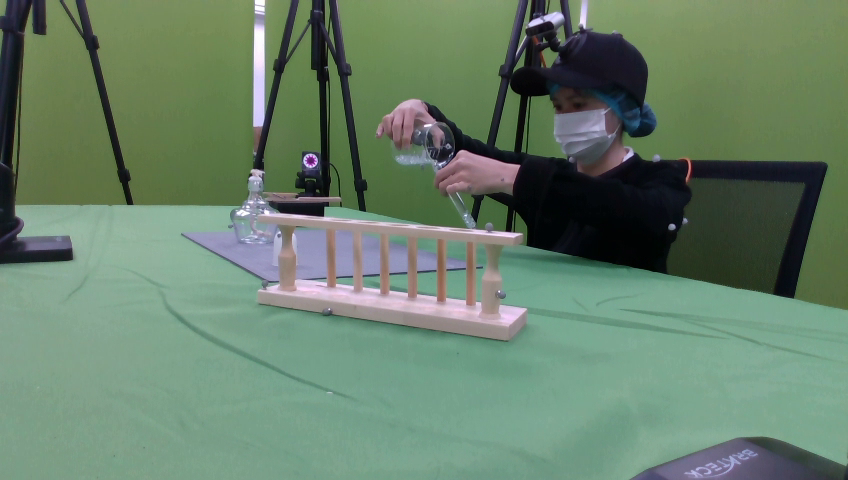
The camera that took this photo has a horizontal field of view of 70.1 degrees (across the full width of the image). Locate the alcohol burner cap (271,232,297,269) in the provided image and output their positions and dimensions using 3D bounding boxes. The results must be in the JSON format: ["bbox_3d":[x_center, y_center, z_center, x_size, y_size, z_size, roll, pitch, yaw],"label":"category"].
[{"bbox_3d":[-0.175,0.012,0.760,0.034,0.048,0.034,2,8,0],"label":"alcohol burner cap"}]

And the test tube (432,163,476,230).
[{"bbox_3d":[0.049,-0.073,1.004,0.017,0.017,0.149,-2,49,-34],"label":"test tube"}]

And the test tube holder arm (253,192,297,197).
[{"bbox_3d":[-0.301,-0.092,1.223,0.088,0.010,0.015,0,7,-25],"label":"test tube holder arm"}]

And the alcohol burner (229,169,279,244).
[{"bbox_3d":[-0.268,-0.053,0.958,0.078,0.119,0.078,2,6,0],"label":"alcohol burner"}]

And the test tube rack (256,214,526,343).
[{"bbox_3d":[-0.032,0.027,0.547,0.241,0.085,0.067,5,7,22],"label":"test tube rack"}]

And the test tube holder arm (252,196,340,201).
[{"bbox_3d":[-0.260,-0.087,1.242,0.179,0.013,0.015,-1,7,-25],"label":"test tube holder arm"}]

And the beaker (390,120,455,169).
[{"bbox_3d":[-0.006,-0.167,1.079,0.074,0.084,0.100,11,-4,-44],"label":"beaker"}]
